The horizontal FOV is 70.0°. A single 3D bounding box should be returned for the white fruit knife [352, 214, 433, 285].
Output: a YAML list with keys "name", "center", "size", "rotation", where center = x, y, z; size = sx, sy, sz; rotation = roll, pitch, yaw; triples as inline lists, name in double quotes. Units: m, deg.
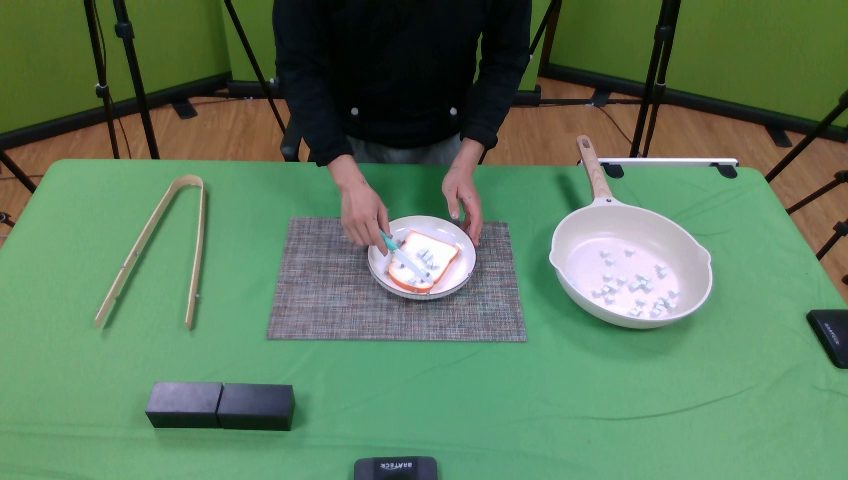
- name: "white fruit knife"
  center: [-0.057, 0.015, 1.110]
  size: [0.206, 0.027, 0.016]
  rotation: [40, 46, 19]

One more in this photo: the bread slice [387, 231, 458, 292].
- name: "bread slice"
  center: [-0.007, 0.043, 1.142]
  size: [0.107, 0.018, 0.134]
  rotation: [18, 46, 14]

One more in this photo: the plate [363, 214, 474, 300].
- name: "plate"
  center: [-0.010, 0.036, 1.147]
  size: [0.208, 0.039, 0.206]
  rotation: [2, 46, -2]

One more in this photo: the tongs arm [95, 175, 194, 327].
- name: "tongs arm"
  center: [-0.516, 0.006, 1.142]
  size: [0.051, 0.026, 0.382]
  rotation: [5, 45, -2]

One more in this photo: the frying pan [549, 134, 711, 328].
- name: "frying pan"
  center: [0.372, -0.035, 1.203]
  size: [0.307, 0.103, 0.484]
  rotation: [-1, 55, -6]

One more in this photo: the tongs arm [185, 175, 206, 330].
- name: "tongs arm"
  center: [-0.436, 0.009, 1.151]
  size: [0.028, 0.028, 0.385]
  rotation: [-7, 47, -8]
